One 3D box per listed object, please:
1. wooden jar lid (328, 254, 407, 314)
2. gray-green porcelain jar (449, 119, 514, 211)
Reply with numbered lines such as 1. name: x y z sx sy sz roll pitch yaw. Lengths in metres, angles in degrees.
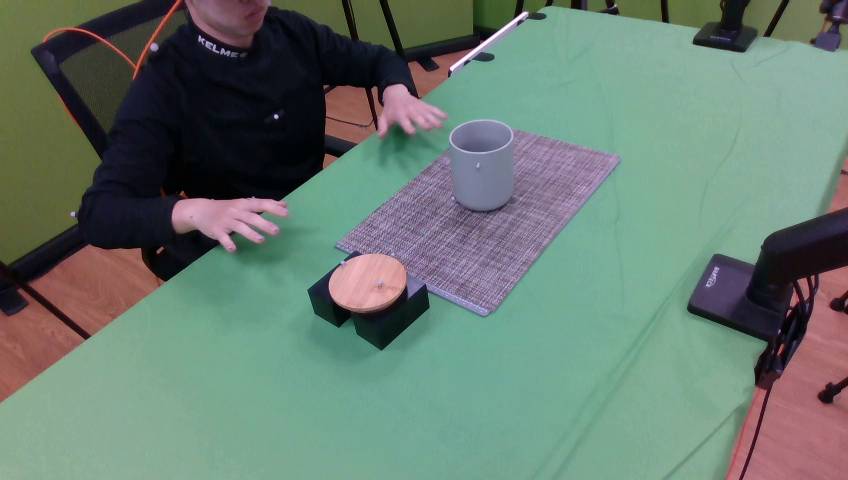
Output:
1. wooden jar lid: -0.077 0.062 0.832 0.108 0.021 0.108 -4 39 4
2. gray-green porcelain jar: 0.098 -0.120 1.008 0.106 0.127 0.105 -4 41 4
